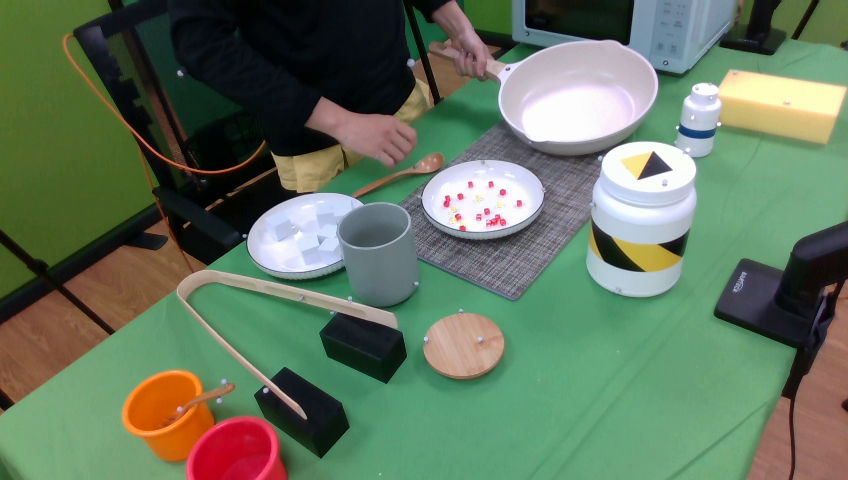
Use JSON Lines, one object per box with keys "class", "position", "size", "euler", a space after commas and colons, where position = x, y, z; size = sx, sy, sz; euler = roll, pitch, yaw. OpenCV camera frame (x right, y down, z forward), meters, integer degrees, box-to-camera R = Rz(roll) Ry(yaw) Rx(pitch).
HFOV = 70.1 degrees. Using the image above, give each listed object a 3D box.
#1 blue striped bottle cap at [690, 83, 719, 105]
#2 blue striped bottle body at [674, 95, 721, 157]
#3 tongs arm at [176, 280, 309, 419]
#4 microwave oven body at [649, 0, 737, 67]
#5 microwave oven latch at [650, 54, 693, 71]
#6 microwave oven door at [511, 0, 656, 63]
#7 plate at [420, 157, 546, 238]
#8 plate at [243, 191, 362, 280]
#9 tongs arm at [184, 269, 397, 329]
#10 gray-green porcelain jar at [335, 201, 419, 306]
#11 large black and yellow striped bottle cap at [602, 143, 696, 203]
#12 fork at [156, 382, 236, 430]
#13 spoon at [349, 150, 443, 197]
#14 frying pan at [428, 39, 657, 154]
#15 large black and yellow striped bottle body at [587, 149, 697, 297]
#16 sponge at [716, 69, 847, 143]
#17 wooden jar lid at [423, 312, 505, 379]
{"class": "blue striped bottle cap", "position": [0.481, -0.251, 1.038], "size": [0.044, 0.021, 0.044], "euler": [-5, 40, 5]}
{"class": "blue striped bottle body", "position": [0.486, -0.213, 1.071], "size": [0.063, 0.121, 0.063], "euler": [-4, 41, 4]}
{"class": "tongs arm", "position": [-0.254, 0.133, 0.801], "size": [0.028, 0.028, 0.384], "euler": [-41, 40, -23]}
{"class": "microwave oven body", "position": [0.475, -0.602, 1.411], "size": [0.438, 0.261, 0.327], "euler": [23, 50, 32]}
{"class": "microwave oven latch", "position": [0.531, -0.386, 1.301], "size": [0.078, 0.029, 0.030], "euler": [26, 51, 33]}
{"class": "microwave oven door", "position": [0.351, -0.540, 1.349], "size": [0.353, 0.245, 0.039], "euler": [24, 50, 31]}
{"class": "plate", "position": [0.099, -0.067, 1.017], "size": [0.209, 0.038, 0.208], "euler": [-4, 40, 4]}
{"class": "plate", "position": [-0.188, -0.005, 0.992], "size": [0.207, 0.039, 0.206], "euler": [-4, 40, 4]}
{"class": "tongs arm", "position": [-0.202, 0.085, 0.847], "size": [0.382, 0.027, 0.051], "euler": [11, 45, 35]}
{"class": "gray-green porcelain jar", "position": [-0.064, 0.024, 0.872], "size": [0.106, 0.127, 0.105], "euler": [-4, 41, 4]}
{"class": "large black and yellow striped bottle cap", "position": [0.289, -0.088, 0.779], "size": [0.115, 0.019, 0.114], "euler": [-5, 39, 4]}
{"class": "fork", "position": [-0.262, 0.189, 0.690], "size": [0.018, 0.206, 0.028], "euler": [49, 43, -7]}
{"class": "spoon", "position": [-0.051, -0.123, 1.120], "size": [0.194, 0.022, 0.041], "euler": [-23, 55, -17]}
{"class": "frying pan", "position": [0.209, -0.318, 1.202], "size": [0.484, 0.103, 0.307], "euler": [30, 64, 23]}
{"class": "large black and yellow striped bottle body", "position": [0.298, -0.026, 0.835], "size": [0.131, 0.185, 0.130], "euler": [-4, 41, 4]}
{"class": "sponge", "position": [0.663, -0.256, 1.142], "size": [0.205, 0.061, 0.118], "euler": [19, 47, 28]}
{"class": "wooden jar lid", "position": [0.053, 0.142, 0.800], "size": [0.108, 0.021, 0.108], "euler": [-5, 39, 4]}
